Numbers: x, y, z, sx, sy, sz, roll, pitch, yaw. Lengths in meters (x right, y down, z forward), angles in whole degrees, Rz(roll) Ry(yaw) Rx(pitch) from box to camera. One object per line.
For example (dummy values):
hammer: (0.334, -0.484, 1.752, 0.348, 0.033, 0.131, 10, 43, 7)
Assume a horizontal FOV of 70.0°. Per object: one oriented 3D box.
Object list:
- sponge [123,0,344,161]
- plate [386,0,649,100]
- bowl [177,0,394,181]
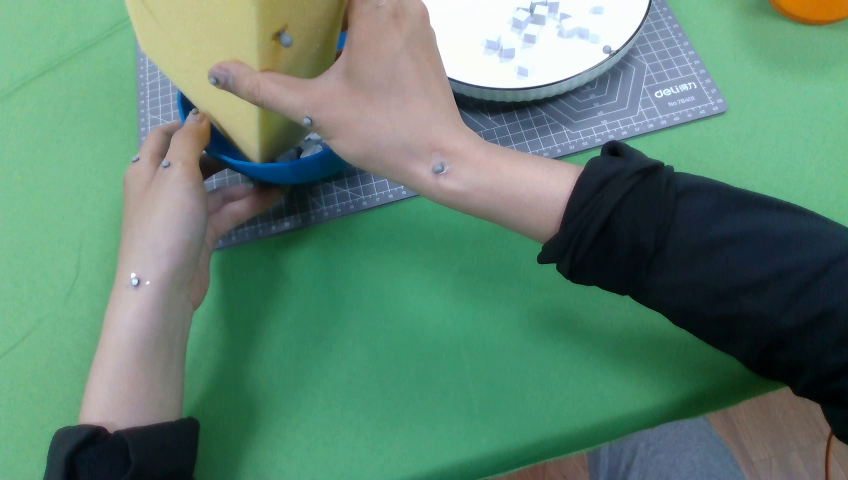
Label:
sponge: (-0.108, -0.136, 0.330, 0.118, 0.207, 0.061, 44, 68, 1)
plate: (0.073, -0.195, 0.494, 0.209, 0.038, 0.207, -3, 65, 6)
bowl: (-0.091, -0.098, 0.445, 0.151, 0.077, 0.150, -3, 65, 6)
